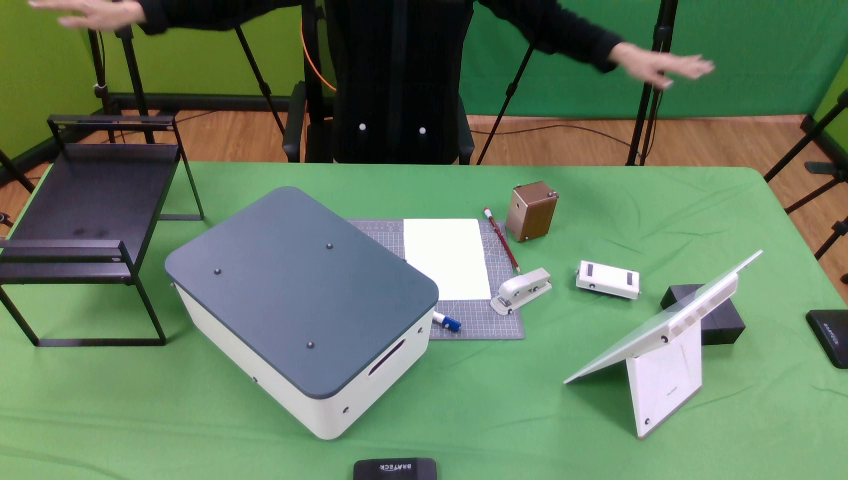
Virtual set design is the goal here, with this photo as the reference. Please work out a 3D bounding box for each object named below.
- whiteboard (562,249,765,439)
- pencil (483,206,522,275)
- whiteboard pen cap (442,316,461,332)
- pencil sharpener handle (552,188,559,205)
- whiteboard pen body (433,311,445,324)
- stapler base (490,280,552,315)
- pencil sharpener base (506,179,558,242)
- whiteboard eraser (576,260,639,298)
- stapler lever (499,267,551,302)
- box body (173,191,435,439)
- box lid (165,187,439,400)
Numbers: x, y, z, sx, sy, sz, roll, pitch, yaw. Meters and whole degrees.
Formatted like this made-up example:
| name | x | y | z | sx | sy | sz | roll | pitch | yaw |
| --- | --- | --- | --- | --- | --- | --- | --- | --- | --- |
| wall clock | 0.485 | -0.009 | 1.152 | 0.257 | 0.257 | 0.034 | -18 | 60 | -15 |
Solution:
| name | x | y | z | sx | sy | sz | roll | pitch | yaw |
| --- | --- | --- | --- | --- | --- | --- | --- | --- | --- |
| whiteboard | 0.386 | 0.176 | 0.905 | 0.217 | 0.306 | 0.143 | -26 | 72 | -26 |
| pencil | 0.158 | -0.002 | 1.218 | 0.012 | 0.012 | 0.192 | -11 | 48 | -14 |
| whiteboard pen cap | 0.048 | 0.146 | 1.059 | 0.033 | 0.018 | 0.018 | 24 | 49 | 16 |
| pencil sharpener handle | 0.261 | -0.084 | 1.221 | 0.031 | 0.068 | 0.036 | -16 | 65 | -19 |
| whiteboard pen body | -0.004 | 0.123 | 1.074 | 0.140 | 0.017 | 0.017 | 24 | 49 | 15 |
| stapler base | 0.181 | 0.094 | 1.118 | 0.130 | 0.024 | 0.041 | -24 | 57 | -29 |
| pencil sharpener base | 0.216 | -0.059 | 1.211 | 0.077 | 0.107 | 0.061 | -16 | 49 | -19 |
| whiteboard eraser | 0.345 | 0.075 | 1.138 | 0.112 | 0.042 | 0.055 | 12 | 44 | 8 |
| stapler lever | 0.185 | 0.076 | 1.101 | 0.118 | 0.040 | 0.026 | -25 | 57 | -29 |
| box body | -0.191 | 0.110 | 0.979 | 0.362 | 0.161 | 0.254 | 33 | 53 | 24 |
| box lid | -0.186 | 0.060 | 0.925 | 0.370 | 0.015 | 0.263 | 32 | 53 | 25 |
